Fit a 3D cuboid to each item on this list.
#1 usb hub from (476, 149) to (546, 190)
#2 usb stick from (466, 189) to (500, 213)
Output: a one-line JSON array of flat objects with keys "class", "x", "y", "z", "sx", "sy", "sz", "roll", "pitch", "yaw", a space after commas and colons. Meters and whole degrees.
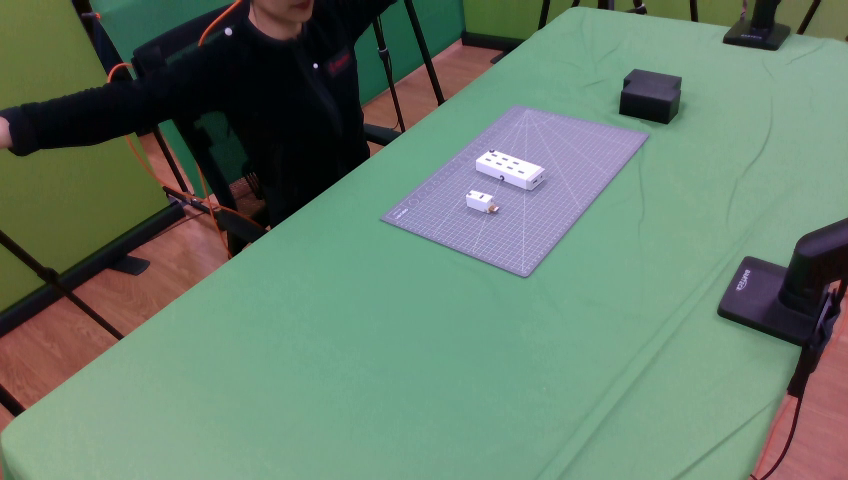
[{"class": "usb hub", "x": 0.157, "y": -0.129, "z": 1.098, "sx": 0.124, "sy": 0.025, "sz": 0.049, "roll": 28, "pitch": 52, "yaw": 35}, {"class": "usb stick", "x": 0.102, "y": -0.064, "z": 1.031, "sx": 0.059, "sy": 0.027, "sz": 0.021, "roll": 24, "pitch": 50, "yaw": 30}]
